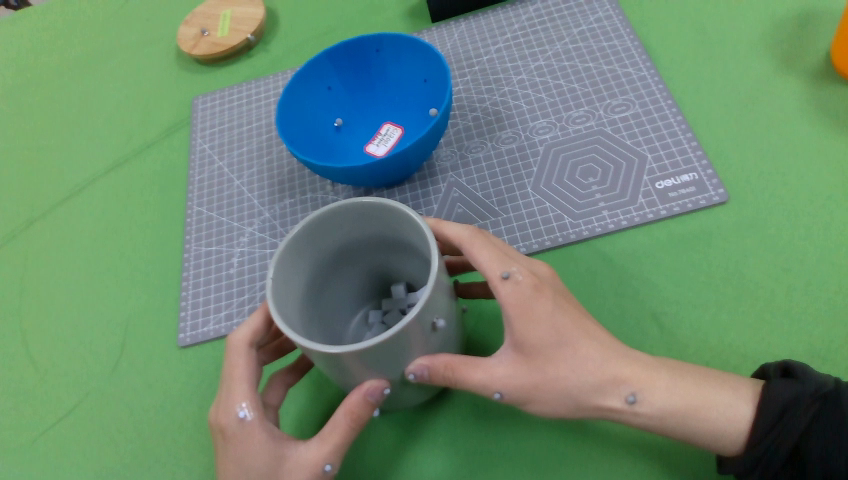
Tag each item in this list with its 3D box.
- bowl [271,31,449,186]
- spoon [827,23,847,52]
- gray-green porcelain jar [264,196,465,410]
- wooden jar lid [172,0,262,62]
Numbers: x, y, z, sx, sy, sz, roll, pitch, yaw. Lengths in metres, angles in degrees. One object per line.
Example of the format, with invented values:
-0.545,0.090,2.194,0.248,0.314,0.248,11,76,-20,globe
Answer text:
-0.046,-0.099,0.524,0.151,0.077,0.150,-6,57,10,bowl
0.389,-0.179,0.427,0.022,0.193,0.041,40,66,-15,spoon
-0.030,0.049,0.402,0.105,0.128,0.105,-7,57,11,gray-green porcelain jar
-0.237,-0.245,0.701,0.108,0.021,0.107,-5,58,9,wooden jar lid
